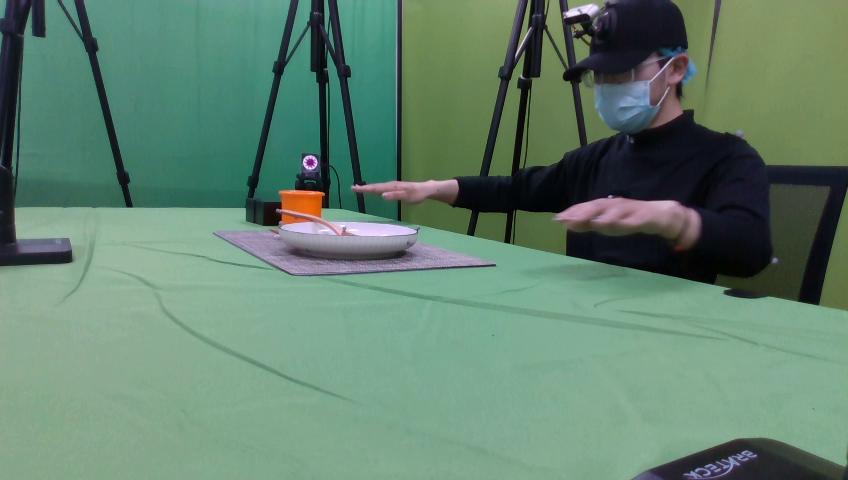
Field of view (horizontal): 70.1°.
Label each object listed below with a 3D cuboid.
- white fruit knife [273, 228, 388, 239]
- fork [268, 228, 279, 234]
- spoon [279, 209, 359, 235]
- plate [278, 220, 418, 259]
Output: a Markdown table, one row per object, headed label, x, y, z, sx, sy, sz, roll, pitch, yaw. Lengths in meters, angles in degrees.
| label | x | y | z | sx | sy | sz | roll | pitch | yaw |
| --- | --- | --- | --- | --- | --- | --- | --- | --- | --- |
| white fruit knife | -0.158 | -0.009 | 1.055 | 0.208 | 0.016 | 0.027 | -3 | -22 | -23 |
| fork | -0.174 | -0.017 | 1.084 | 0.208 | 0.018 | 0.028 | -3 | -3 | -30 |
| spoon | -0.163 | -0.027 | 0.976 | 0.193 | 0.021 | 0.042 | 21 | 17 | 30 |
| plate | -0.114 | -0.002 | 0.914 | 0.209 | 0.038 | 0.209 | 2 | 7 | 0 |
